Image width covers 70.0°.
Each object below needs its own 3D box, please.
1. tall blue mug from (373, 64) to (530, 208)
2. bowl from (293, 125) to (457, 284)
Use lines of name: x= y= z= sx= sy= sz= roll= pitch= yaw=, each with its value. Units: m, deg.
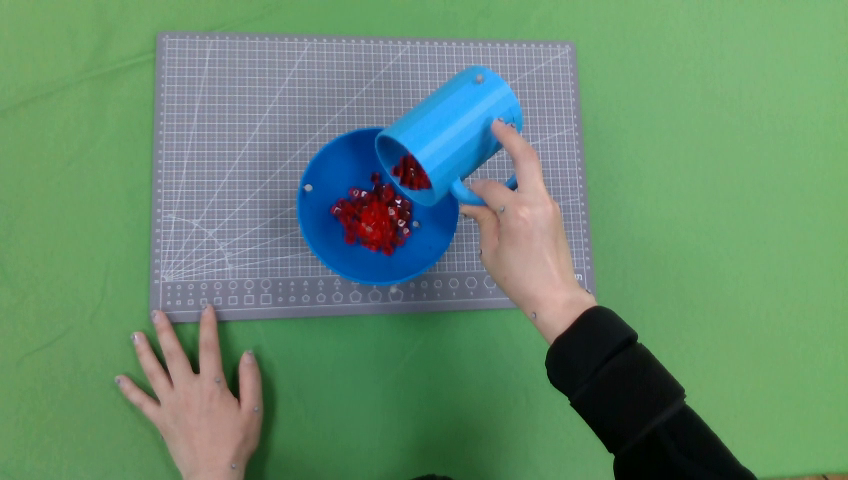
tall blue mug: x=0.031 y=-0.085 z=0.515 sx=0.108 sy=0.078 sz=0.106 roll=-41 pitch=45 yaw=-20
bowl: x=-0.048 y=-0.027 z=0.589 sx=0.152 sy=0.077 sz=0.151 roll=1 pitch=81 yaw=-8
